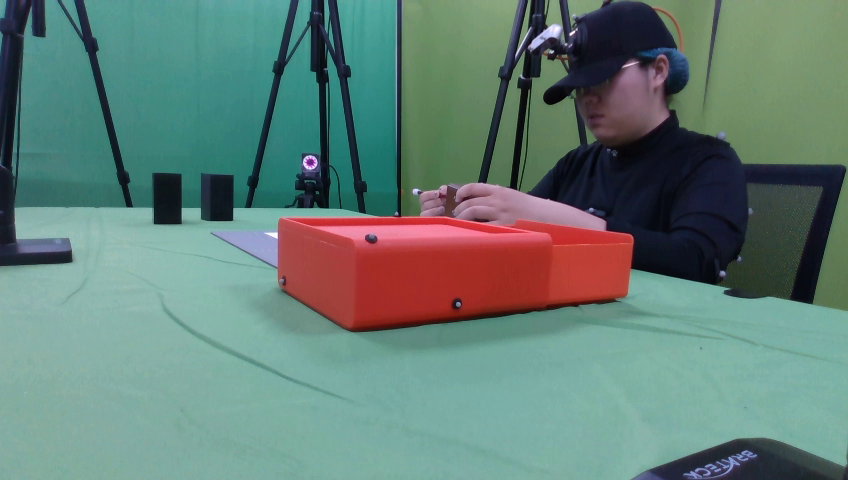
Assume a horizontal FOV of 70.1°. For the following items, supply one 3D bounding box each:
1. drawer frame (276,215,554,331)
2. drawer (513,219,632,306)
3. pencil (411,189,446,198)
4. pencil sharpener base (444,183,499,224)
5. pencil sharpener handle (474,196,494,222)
[{"bbox_3d":[-0.015,0.022,0.610,0.215,0.082,0.200,-3,9,-32],"label":"drawer frame"},{"bbox_3d":[0.085,0.021,0.674,0.213,0.073,0.193,-2,9,-32],"label":"drawer"},{"bbox_3d":[0.017,-0.083,1.100,0.012,0.012,0.193,0,7,-25],"label":"pencil"},{"bbox_3d":[0.075,-0.034,0.983,0.061,0.107,0.076,0,15,-27],"label":"pencil sharpener base"},{"bbox_3d":[0.100,-0.033,0.937,0.036,0.068,0.030,-6,17,-26],"label":"pencil sharpener handle"}]
